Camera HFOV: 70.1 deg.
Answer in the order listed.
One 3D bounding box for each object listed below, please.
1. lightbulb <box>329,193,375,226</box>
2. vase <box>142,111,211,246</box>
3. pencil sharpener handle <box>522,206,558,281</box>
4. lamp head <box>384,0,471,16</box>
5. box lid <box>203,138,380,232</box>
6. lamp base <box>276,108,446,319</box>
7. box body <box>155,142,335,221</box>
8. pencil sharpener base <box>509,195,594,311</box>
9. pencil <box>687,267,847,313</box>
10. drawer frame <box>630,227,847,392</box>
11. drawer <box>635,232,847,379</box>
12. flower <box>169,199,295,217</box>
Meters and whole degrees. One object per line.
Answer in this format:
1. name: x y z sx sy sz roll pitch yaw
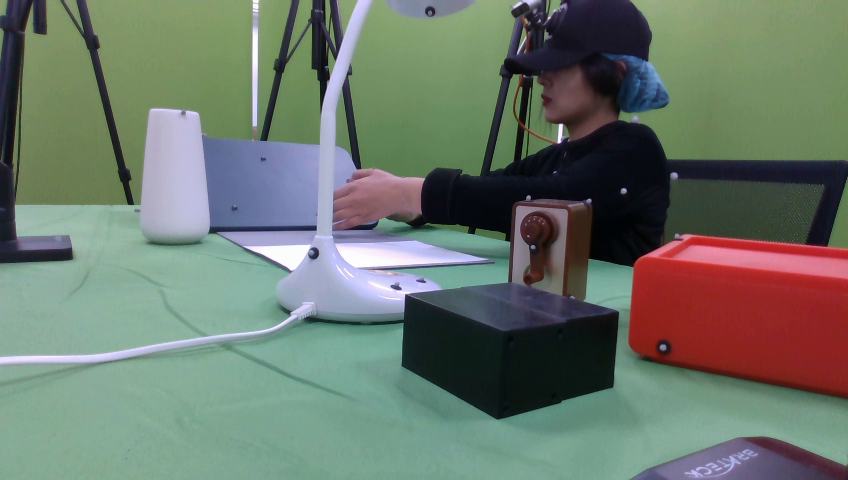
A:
1. lightbulb: -0.137 -0.059 1.103 0.108 0.059 0.059 -10 13 -35
2. vase: -0.378 -0.093 0.920 0.098 0.200 0.098 2 9 0
3. pencil sharpener handle: 0.102 0.003 0.555 0.036 0.067 0.031 0 5 31
4. lamp head: -0.001 -0.301 0.599 0.112 0.112 0.123 4 -30 14
5. box lid: -0.286 -0.112 1.202 0.373 0.015 0.262 -2 46 -30
6. lamp base: -0.061 -0.027 0.556 0.160 0.180 0.180 4 10 20
7. box body: -0.410 -0.135 1.386 0.366 0.160 0.253 -2 9 -29
8. pencil sharpener base: 0.126 0.011 0.601 0.061 0.107 0.077 7 9 30
9. pencil: 0.308 0.044 0.515 0.194 0.012 0.012 13 5 -12
10. drawer frame: 0.292 0.043 0.484 0.201 0.082 0.214 7 9 29
11. drawer: 0.292 0.044 0.488 0.193 0.073 0.213 7 9 30
12. flower: -0.424 -0.070 1.399 0.044 0.038 0.363 -2 0 30
